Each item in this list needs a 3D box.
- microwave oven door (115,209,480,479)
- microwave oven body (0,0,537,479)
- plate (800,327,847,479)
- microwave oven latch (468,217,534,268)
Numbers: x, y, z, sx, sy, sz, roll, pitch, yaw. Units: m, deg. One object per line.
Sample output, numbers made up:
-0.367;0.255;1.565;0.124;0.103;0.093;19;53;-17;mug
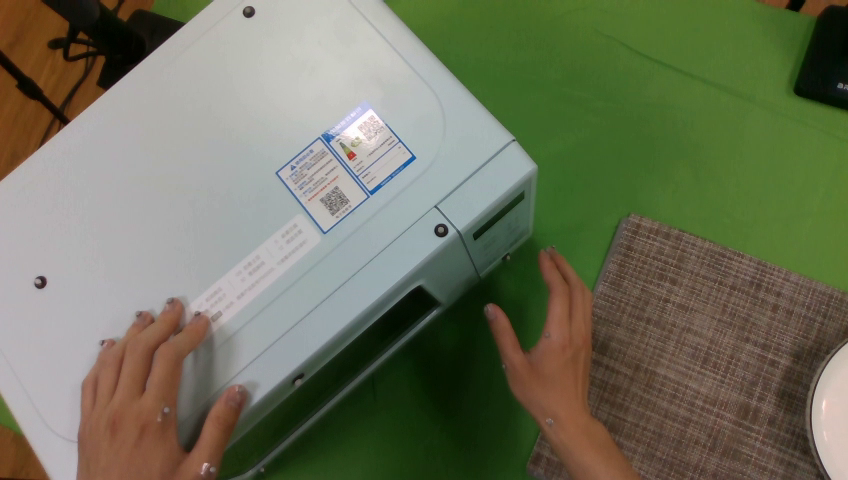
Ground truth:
-0.100;0.117;0.561;0.356;0.245;0.039;-41;75;-1;microwave oven door
-0.160;-0.016;0.601;0.441;0.261;0.324;-41;76;0;microwave oven body
0.470;0.174;0.583;0.207;0.039;0.206;-2;79;8;plate
0.083;-0.004;0.662;0.079;0.029;0.030;-39;76;1;microwave oven latch
